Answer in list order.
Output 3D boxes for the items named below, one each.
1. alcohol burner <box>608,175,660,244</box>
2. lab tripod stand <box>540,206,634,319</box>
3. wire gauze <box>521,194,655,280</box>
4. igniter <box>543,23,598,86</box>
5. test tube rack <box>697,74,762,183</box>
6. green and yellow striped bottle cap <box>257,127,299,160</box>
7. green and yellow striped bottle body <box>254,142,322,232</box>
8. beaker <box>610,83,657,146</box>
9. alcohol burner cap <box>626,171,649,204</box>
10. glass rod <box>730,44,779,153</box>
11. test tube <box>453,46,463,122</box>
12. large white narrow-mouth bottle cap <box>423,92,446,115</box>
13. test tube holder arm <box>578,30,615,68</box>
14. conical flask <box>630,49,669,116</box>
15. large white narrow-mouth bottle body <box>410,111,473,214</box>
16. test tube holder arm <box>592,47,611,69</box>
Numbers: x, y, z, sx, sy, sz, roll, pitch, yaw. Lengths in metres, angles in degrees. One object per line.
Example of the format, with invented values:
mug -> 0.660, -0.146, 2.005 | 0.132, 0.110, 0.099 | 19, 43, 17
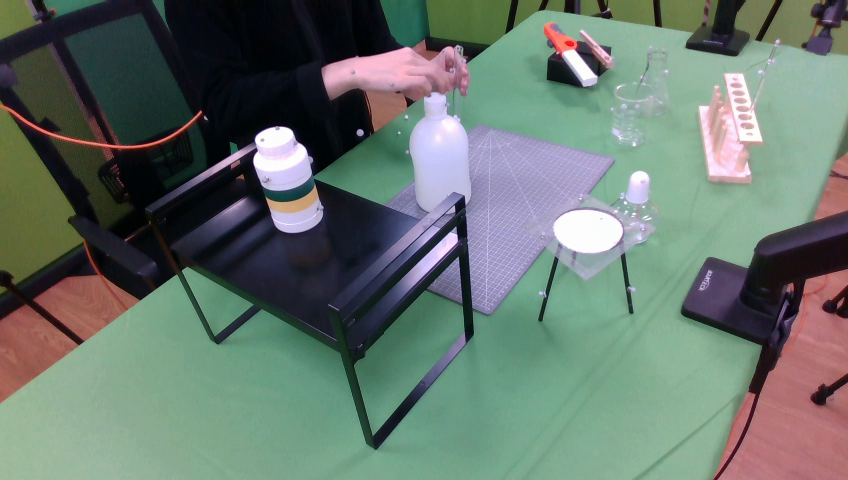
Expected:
alcohol burner -> 0.322, -0.053, 0.924 | 0.078, 0.119, 0.077 | -4, 43, 4
lab tripod stand -> 0.218, 0.034, 0.821 | 0.148, 0.132, 0.147 | -4, 42, 4
wire gauze -> 0.207, -0.012, 0.772 | 0.122, 0.011, 0.124 | -28, 44, -20
igniter -> 0.320, -0.419, 1.345 | 0.057, 0.025, 0.274 | -12, 44, -3
test tube rack -> 0.547, -0.208, 1.095 | 0.066, 0.085, 0.242 | 5, 42, 15
green and yellow striped bottle cap -> -0.169, -0.112, 0.698 | 0.045, 0.020, 0.045 | -5, 40, 5
green and yellow striped bottle body -> -0.165, -0.073, 0.732 | 0.063, 0.120, 0.063 | -4, 41, 4
beaker -> 0.388, -0.235, 1.138 | 0.074, 0.101, 0.083 | -31, 45, -25
alcohol burner cap -> 0.320, -0.081, 0.900 | 0.034, 0.048, 0.033 | -4, 42, 4
glass rod -> 0.555, -0.234, 1.021 | 0.008, 0.200, 0.008 | 2, 40, -1
test tube -> 0.059, -0.266, 1.057 | 0.017, 0.151, 0.017 | 0, 44, 1
large white narrow-mouth bottle cap -> 0.016, -0.214, 0.950 | 0.038, 0.024, 0.037 | -5, 39, 4
test tube holder arm -> 0.383, -0.428, 1.351 | 0.013, 0.015, 0.177 | -12, 41, -3
conical flask -> 0.457, -0.317, 1.205 | 0.075, 0.122, 0.075 | -4, 41, 4
large white narrow-mouth bottle body -> 0.027, -0.145, 1.007 | 0.102, 0.195, 0.101 | -5, 39, 4
test tube holder arm -> 0.385, -0.398, 1.317 | 0.010, 0.015, 0.087 | -11, 41, -2
